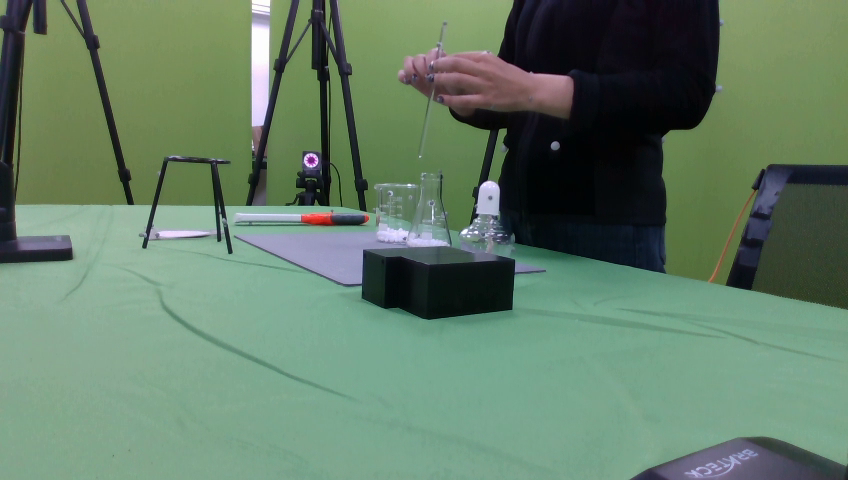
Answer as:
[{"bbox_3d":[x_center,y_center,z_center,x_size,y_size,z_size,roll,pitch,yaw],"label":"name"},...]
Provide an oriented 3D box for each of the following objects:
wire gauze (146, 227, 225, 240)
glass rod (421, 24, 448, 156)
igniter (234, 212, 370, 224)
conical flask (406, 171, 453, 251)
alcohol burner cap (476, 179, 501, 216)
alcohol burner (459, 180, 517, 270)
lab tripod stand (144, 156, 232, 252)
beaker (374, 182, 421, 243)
[{"bbox_3d":[-0.400,-0.012,1.019,0.122,0.011,0.124,-1,6,-26],"label":"wire gauze"},{"bbox_3d":[0.015,-0.227,0.921,0.008,0.199,0.008,11,9,-1],"label":"glass rod"},{"bbox_3d":[-0.247,-0.046,1.253,0.278,0.025,0.057,-1,-3,-27],"label":"igniter"},{"bbox_3d":[0.011,-0.046,0.948,0.075,0.122,0.075,2,8,0],"label":"conical flask"},{"bbox_3d":[0.086,-0.057,0.801,0.034,0.048,0.034,4,2,0],"label":"alcohol burner cap"},{"bbox_3d":[0.086,-0.021,0.805,0.078,0.119,0.078,3,10,0],"label":"alcohol burner"},{"bbox_3d":[-0.325,-0.054,0.881,0.148,0.131,0.148,4,7,0],"label":"lab tripod stand"},{"bbox_3d":[-0.049,-0.048,1.031,0.083,0.100,0.074,5,7,24],"label":"beaker"}]
